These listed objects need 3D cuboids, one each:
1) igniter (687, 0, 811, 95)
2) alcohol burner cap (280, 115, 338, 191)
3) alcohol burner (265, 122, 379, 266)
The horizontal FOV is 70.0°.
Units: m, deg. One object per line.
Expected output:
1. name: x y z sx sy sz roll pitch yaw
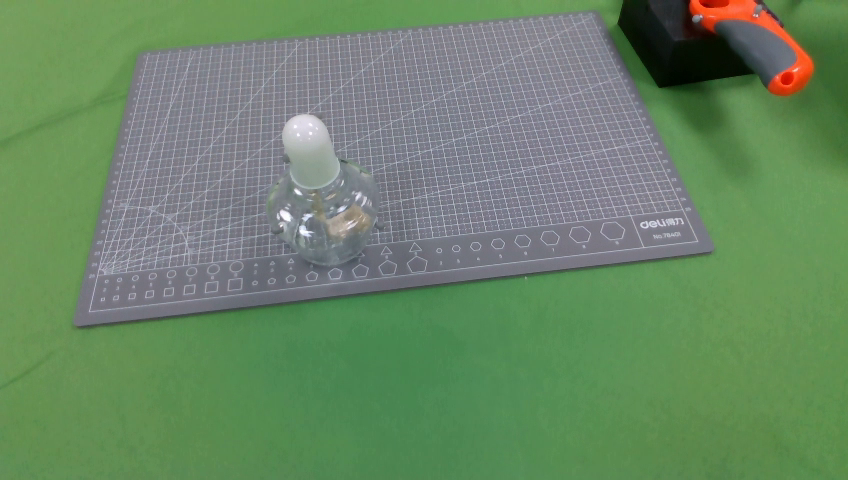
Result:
1. igniter: 0.246 -0.216 0.526 0.057 0.025 0.273 -12 53 -4
2. alcohol burner cap: -0.073 -0.056 0.374 0.034 0.048 0.033 0 58 0
3. alcohol burner: -0.071 -0.035 0.403 0.078 0.120 0.077 -1 56 2
